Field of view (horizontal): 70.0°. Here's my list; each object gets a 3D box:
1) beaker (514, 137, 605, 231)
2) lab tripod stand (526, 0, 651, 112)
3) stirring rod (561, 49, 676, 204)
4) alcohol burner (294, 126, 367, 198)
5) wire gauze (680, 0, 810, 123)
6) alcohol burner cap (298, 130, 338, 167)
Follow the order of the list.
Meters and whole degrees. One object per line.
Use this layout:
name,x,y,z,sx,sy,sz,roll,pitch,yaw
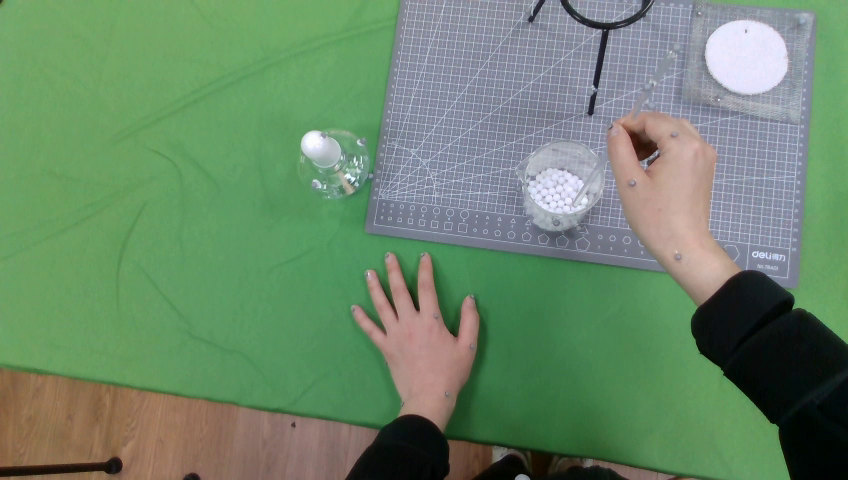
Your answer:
beaker,0.129,-0.051,0.601,0.084,0.100,0.074,14,83,9
lab tripod stand,0.170,-0.220,0.603,0.148,0.132,0.148,-1,83,5
stirring rod,0.149,-0.082,0.485,0.014,0.177,0.006,31,57,6
alcohol burner,-0.101,-0.086,0.628,0.078,0.119,0.077,-1,80,5
wire gauze,0.340,-0.194,0.644,0.125,0.011,0.121,12,83,5
alcohol burner cap,-0.106,-0.092,0.592,0.034,0.048,0.034,0,85,6
